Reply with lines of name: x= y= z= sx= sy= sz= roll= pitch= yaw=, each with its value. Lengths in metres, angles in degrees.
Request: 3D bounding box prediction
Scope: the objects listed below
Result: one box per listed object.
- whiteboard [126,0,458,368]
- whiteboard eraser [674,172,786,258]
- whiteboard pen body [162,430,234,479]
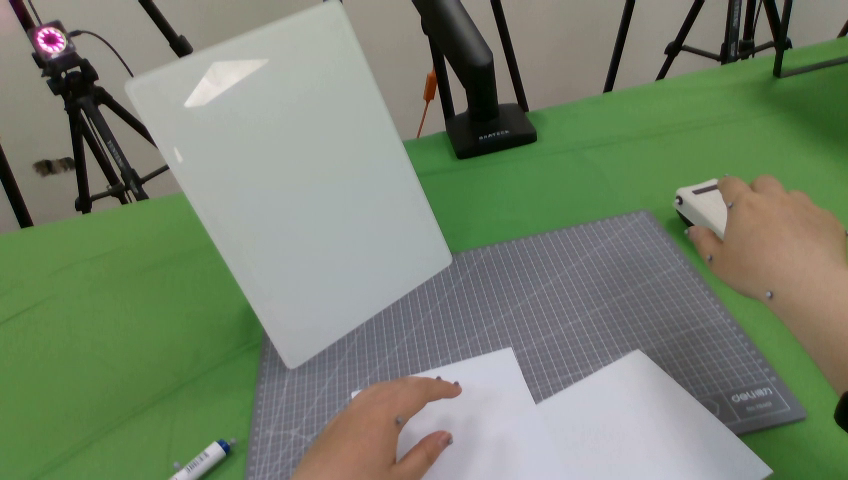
whiteboard: x=-0.136 y=-0.065 z=0.645 sx=0.217 sy=0.307 sz=0.143 roll=-33 pitch=21 yaw=-23
whiteboard eraser: x=0.315 y=-0.026 z=0.630 sx=0.055 sy=0.042 sz=0.111 roll=-18 pitch=38 yaw=-4
whiteboard pen body: x=-0.219 y=0.210 z=0.502 sx=0.017 sy=0.017 sz=0.140 roll=23 pitch=49 yaw=38
